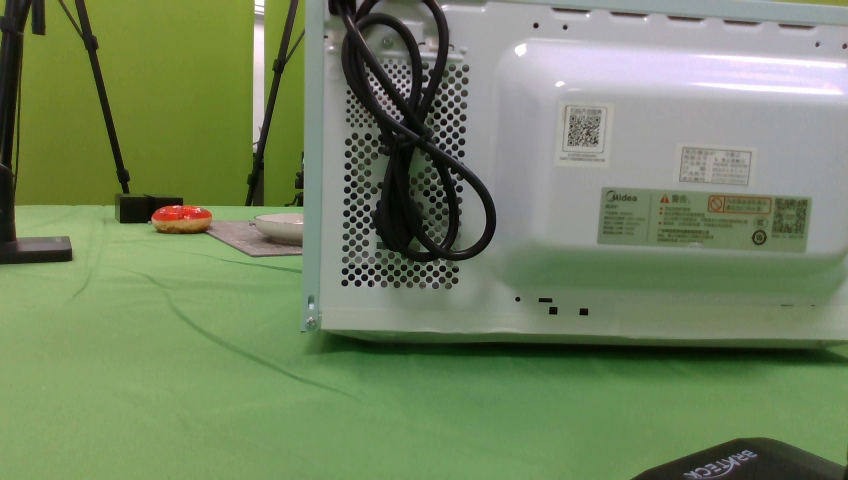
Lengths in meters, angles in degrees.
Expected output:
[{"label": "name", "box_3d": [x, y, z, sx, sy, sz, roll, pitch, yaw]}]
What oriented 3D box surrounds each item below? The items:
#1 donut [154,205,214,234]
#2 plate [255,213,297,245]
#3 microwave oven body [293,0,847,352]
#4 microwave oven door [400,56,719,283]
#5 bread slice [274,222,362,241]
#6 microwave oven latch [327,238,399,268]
[{"label": "donut", "box_3d": [-0.426, -0.037, 1.075, 0.099, 0.048, 0.099, 2, 12, 0]}, {"label": "plate", "box_3d": [-0.177, -0.018, 1.017, 0.208, 0.039, 0.207, 2, 7, 0]}, {"label": "microwave oven body", "box_3d": [0.122, -0.055, 0.550, 0.442, 0.260, 0.325, 3, 7, -5]}, {"label": "microwave oven door", "box_3d": [0.155, -0.078, 0.698, 0.356, 0.243, 0.039, 2, 8, -5]}, {"label": "bread slice", "box_3d": [-0.181, -0.016, 1.011, 0.104, 0.019, 0.132, 6, 8, 27]}, {"label": "microwave oven latch", "box_3d": [-0.069, 0.015, 0.694, 0.079, 0.029, 0.030, 3, 7, -3]}]
